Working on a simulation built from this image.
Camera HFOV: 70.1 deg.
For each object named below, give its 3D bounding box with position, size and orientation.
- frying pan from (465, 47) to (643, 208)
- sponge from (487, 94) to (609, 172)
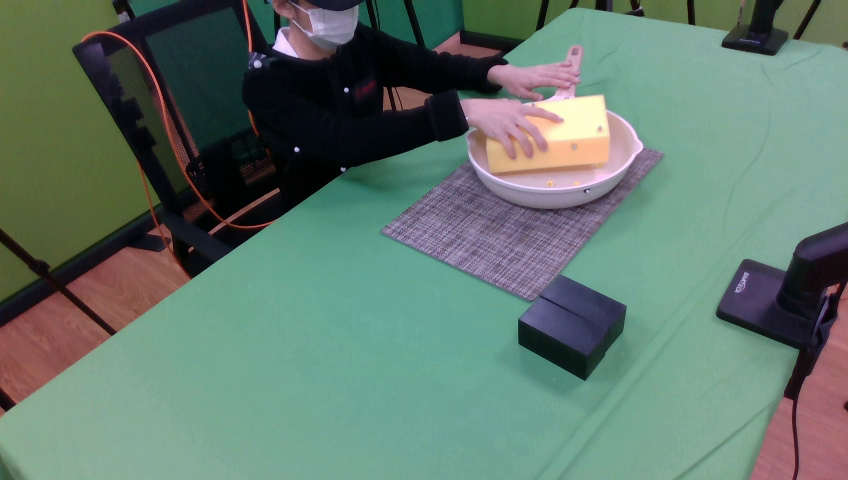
[{"bbox_3d":[0.255,-0.228,1.135,0.305,0.103,0.487,9,51,17],"label":"frying pan"},{"bbox_3d":[0.218,-0.191,1.079,0.206,0.061,0.117,-5,48,9],"label":"sponge"}]
